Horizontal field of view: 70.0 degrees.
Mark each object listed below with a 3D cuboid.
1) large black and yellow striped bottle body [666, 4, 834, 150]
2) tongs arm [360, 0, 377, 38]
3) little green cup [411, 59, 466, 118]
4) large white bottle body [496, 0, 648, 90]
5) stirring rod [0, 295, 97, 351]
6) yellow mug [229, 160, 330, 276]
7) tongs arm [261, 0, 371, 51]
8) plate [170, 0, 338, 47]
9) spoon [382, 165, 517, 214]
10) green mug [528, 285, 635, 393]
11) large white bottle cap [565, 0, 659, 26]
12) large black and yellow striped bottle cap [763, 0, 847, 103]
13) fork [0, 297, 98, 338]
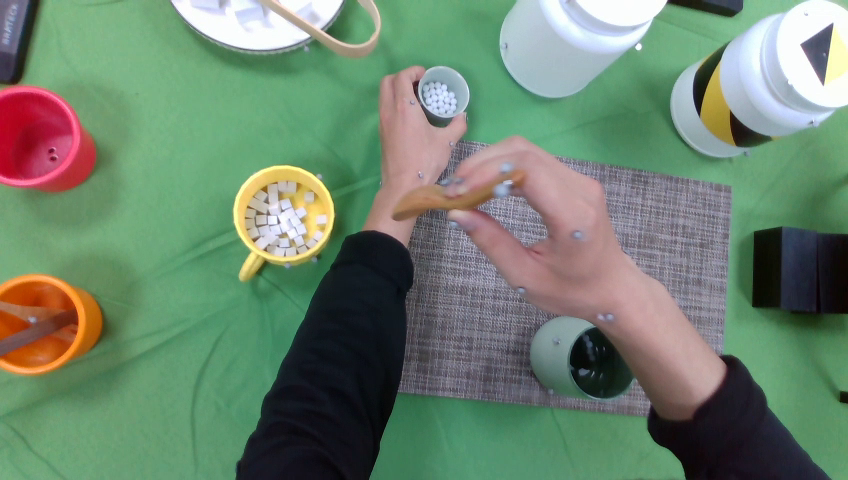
[{"bbox_3d":[0.387,-0.188,0.702,0.131,0.184,0.130,1,84,-10],"label":"large black and yellow striped bottle body"},{"bbox_3d":[-0.173,-0.378,0.652,0.028,0.028,0.387,-41,91,-17],"label":"tongs arm"},{"bbox_3d":[0.015,-0.171,0.696,0.062,0.038,0.061,3,80,-15],"label":"little green cup"},{"bbox_3d":[0.165,-0.256,0.664,0.131,0.184,0.130,1,84,-10],"label":"large white bottle body"},{"bbox_3d":[-0.381,0.091,0.550,0.014,0.006,0.176,58,36,-2],"label":"stirring rod"},{"bbox_3d":[-0.159,-0.017,0.640,0.100,0.064,0.130,33,81,-7],"label":"yellow mug"},{"bbox_3d":[-0.226,-0.316,0.635,0.385,0.026,0.050,36,77,-4],"label":"tongs arm"},{"bbox_3d":[-0.190,-0.313,0.675,0.208,0.039,0.207,1,85,-11],"label":"plate"},{"bbox_3d":[0.012,-0.027,0.350,0.041,0.193,0.022,-24,100,-16],"label":"spoon"},{"bbox_3d":[0.178,0.108,0.672,0.093,0.105,0.125,24,81,-7],"label":"green mug"},{"bbox_3d":[0.180,-0.264,0.581,0.115,0.018,0.114,1,85,-10],"label":"large white bottle cap"},{"bbox_3d":[0.402,-0.198,0.620,0.115,0.019,0.114,1,85,-12],"label":"large black and yellow striped bottle cap"},{"bbox_3d":[-0.396,0.051,0.545,0.209,0.018,0.028,36,72,-50],"label":"fork"}]
